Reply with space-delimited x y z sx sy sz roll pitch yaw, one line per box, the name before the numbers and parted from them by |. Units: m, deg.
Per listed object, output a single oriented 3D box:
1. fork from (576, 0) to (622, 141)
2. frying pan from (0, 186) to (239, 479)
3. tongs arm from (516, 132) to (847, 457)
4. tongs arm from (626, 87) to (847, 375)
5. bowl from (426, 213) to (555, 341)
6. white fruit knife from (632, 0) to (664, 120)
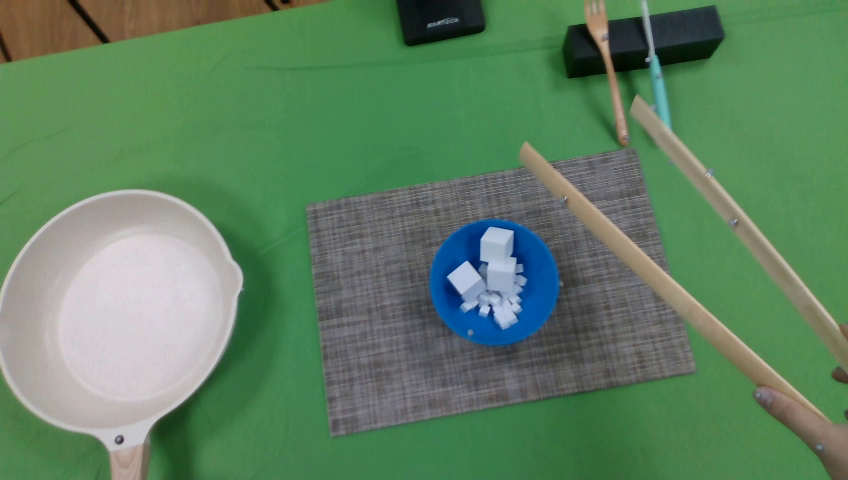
fork | 0.235 -0.233 0.804 0.028 0.018 0.207 -16 95 -6
frying pan | -0.349 0.172 0.707 0.307 0.103 0.483 -12 66 0
tongs arm | 0.213 0.033 0.519 0.028 0.028 0.384 -30 65 -27
tongs arm | 0.281 0.003 0.544 0.051 0.027 0.381 -20 62 -19
bowl | 0.078 0.051 0.733 0.151 0.077 0.150 0 75 2
white fruit knife | 0.293 -0.240 0.803 0.016 0.027 0.207 -11 91 5
